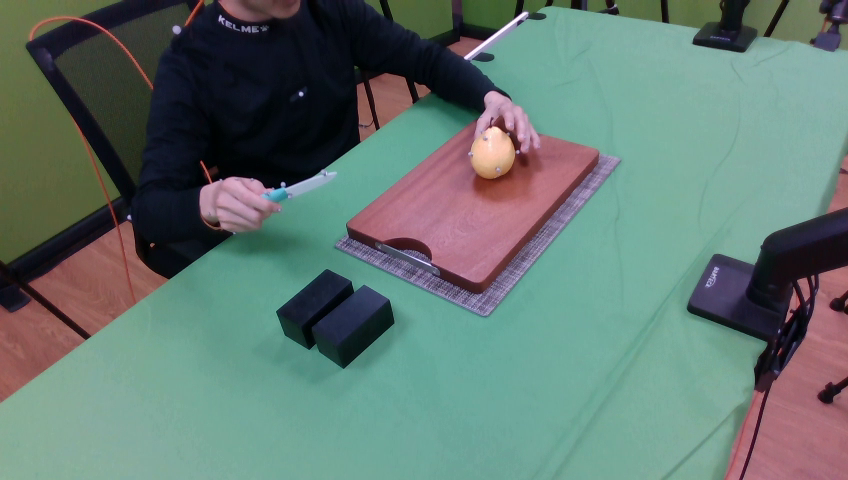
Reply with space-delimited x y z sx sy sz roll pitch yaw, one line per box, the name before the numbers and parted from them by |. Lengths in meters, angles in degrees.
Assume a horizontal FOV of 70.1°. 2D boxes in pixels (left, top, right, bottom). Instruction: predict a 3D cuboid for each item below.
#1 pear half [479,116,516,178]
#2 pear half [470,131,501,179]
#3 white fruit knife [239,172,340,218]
pear half | 0.126 -0.166 1.031 0.056 0.110 0.075 -34 50 -29
pear half | 0.099 -0.141 1.022 0.031 0.088 0.070 -34 54 -30
white fruit knife | -0.186 -0.062 0.816 0.206 0.028 0.016 -16 66 36
